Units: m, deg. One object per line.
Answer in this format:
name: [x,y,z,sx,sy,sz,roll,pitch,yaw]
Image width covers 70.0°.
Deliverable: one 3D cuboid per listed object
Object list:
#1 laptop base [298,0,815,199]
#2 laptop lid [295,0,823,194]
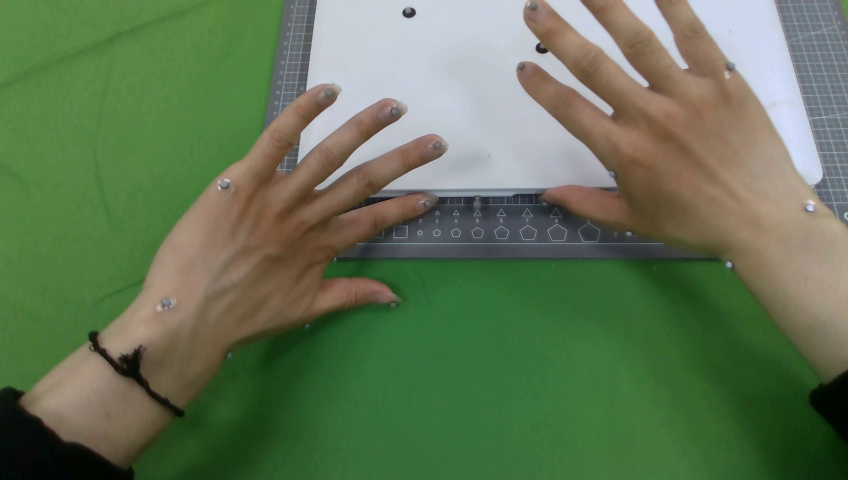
laptop base: [0.090,-0.134,0.462,0.354,0.023,0.234,0,69,3]
laptop lid: [0.089,-0.138,0.448,0.356,0.013,0.240,1,66,4]
